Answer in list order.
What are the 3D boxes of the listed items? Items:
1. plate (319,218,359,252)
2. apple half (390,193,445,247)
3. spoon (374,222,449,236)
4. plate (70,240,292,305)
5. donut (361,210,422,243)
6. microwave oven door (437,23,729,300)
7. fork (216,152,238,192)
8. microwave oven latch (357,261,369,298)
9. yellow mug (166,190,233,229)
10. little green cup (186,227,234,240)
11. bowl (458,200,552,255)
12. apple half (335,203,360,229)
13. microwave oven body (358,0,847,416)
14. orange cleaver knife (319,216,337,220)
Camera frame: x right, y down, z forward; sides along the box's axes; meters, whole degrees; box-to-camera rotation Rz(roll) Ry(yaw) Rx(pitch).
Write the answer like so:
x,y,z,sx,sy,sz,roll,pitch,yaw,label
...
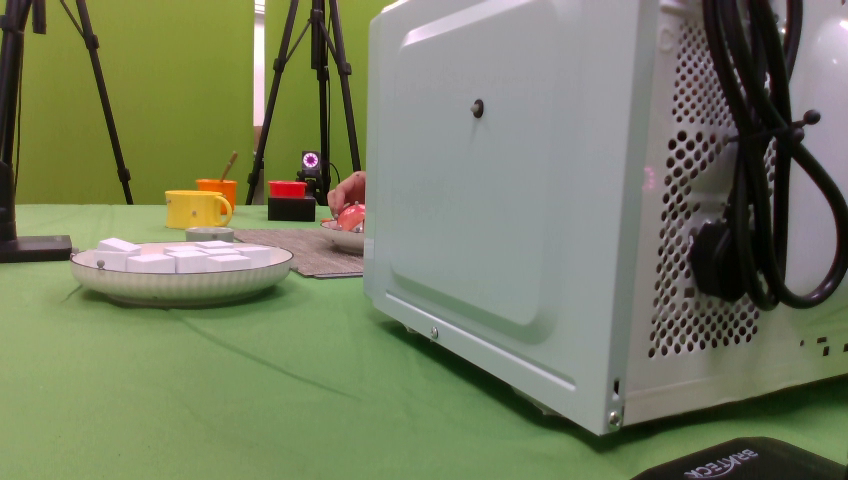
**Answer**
x,y,z,sx,sy,sz,roll,pitch,yaw,label
-0.059,-0.007,0.939,0.209,0.038,0.209,3,8,0,plate
-0.004,-0.034,0.890,0.081,0.074,0.053,15,-40,-22,apple half
-0.029,-0.025,1.178,0.193,0.021,0.042,9,25,42,spoon
-0.242,0.031,0.618,0.208,0.039,0.207,2,8,0,plate
-0.051,-0.020,0.958,0.099,0.048,0.099,7,8,-1,donut
0.181,-0.072,0.621,0.358,0.243,0.039,-2,8,-29,microwave oven door
-0.455,-0.132,1.367,0.028,0.018,0.207,-3,-35,-38,fork
-0.019,0.033,0.530,0.079,0.029,0.030,-1,7,-26,microwave oven latch
-0.415,-0.057,1.132,0.130,0.064,0.100,6,8,16,yellow mug
-0.284,0.005,0.805,0.061,0.038,0.061,2,8,0,little green cup
0.128,-0.020,0.977,0.151,0.077,0.151,2,8,0,bowl
-0.116,-0.038,0.960,0.081,0.033,0.081,-37,5,4,apple half
0.211,-0.047,0.474,0.444,0.260,0.324,-1,7,-28,microwave oven body
-0.142,-0.057,1.395,0.077,0.012,0.212,2,7,44,orange cleaver knife
